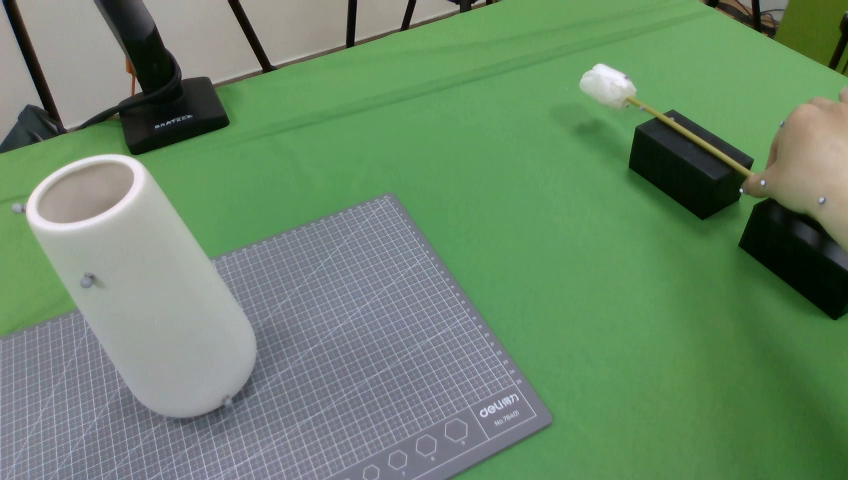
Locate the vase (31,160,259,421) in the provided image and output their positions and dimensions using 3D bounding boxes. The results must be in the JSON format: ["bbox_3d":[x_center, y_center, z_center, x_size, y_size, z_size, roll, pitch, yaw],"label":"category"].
[{"bbox_3d":[-0.186,0.042,0.425,0.098,0.202,0.097,-4,44,4],"label":"vase"}]

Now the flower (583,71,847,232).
[{"bbox_3d":[0.273,-0.076,0.555,0.044,0.038,0.357,-9,38,-27],"label":"flower"}]
